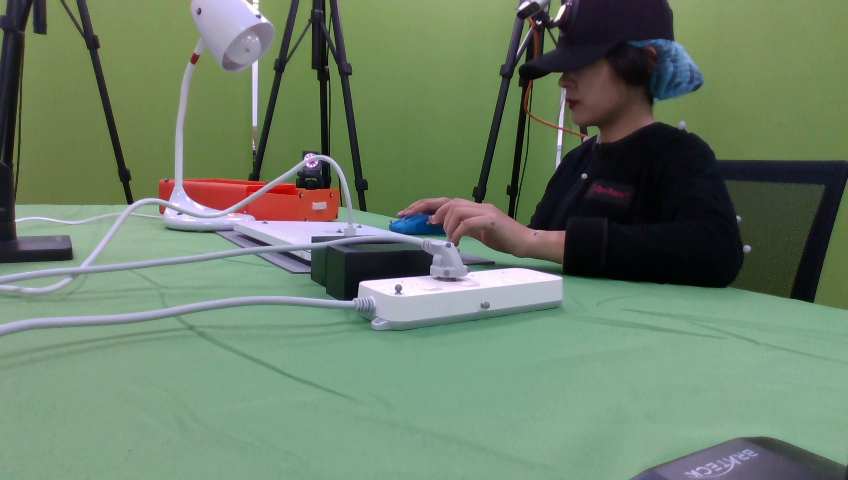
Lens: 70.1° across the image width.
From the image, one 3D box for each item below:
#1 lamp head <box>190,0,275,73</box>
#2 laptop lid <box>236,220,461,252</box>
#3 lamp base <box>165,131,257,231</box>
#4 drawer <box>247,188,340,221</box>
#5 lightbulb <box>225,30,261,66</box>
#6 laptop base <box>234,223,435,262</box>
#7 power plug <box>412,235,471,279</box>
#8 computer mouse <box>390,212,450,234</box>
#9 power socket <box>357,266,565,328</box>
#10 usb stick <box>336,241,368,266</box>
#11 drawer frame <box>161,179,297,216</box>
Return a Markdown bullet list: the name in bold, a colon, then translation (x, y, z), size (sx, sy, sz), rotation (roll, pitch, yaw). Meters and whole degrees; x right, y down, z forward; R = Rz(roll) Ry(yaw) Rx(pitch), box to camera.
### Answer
- **lamp head**: translation (-0.331, -0.355, 1.008), size (0.123, 0.112, 0.112), rotation (43, 15, 6)
- **laptop lid**: translation (-0.133, -0.010, 0.948), size (0.243, 0.013, 0.355), rotation (0, 7, -31)
- **lamp base**: translation (-0.407, -0.112, 1.119), size (0.179, 0.180, 0.161), rotation (-1, 7, 7)
- **drawer**: translation (-0.314, -0.078, 1.301), size (0.211, 0.073, 0.195), rotation (4, 8, 15)
- **lightbulb**: translation (-0.317, -0.335, 1.001), size (0.107, 0.059, 0.059), rotation (47, 15, 5)
- **laptop base**: translation (-0.135, 0.002, 0.949), size (0.237, 0.023, 0.352), rotation (1, 6, -33)
- **power plug**: translation (0.017, 0.023, 0.588), size (0.035, 0.052, 0.072), rotation (-1, 7, -24)
- **computer mouse**: translation (-0.008, -0.034, 1.204), size (0.118, 0.041, 0.062), rotation (-6, 11, -27)
- **power socket**: translation (0.041, 0.049, 0.572), size (0.228, 0.032, 0.072), rotation (-3, 8, -35)
- **usb stick**: translation (-0.093, 0.016, 0.748), size (0.021, 0.027, 0.059), rotation (-4, 5, -36)
- **drawer frame**: translation (-0.421, -0.089, 1.329), size (0.213, 0.082, 0.202), rotation (4, 8, 16)
